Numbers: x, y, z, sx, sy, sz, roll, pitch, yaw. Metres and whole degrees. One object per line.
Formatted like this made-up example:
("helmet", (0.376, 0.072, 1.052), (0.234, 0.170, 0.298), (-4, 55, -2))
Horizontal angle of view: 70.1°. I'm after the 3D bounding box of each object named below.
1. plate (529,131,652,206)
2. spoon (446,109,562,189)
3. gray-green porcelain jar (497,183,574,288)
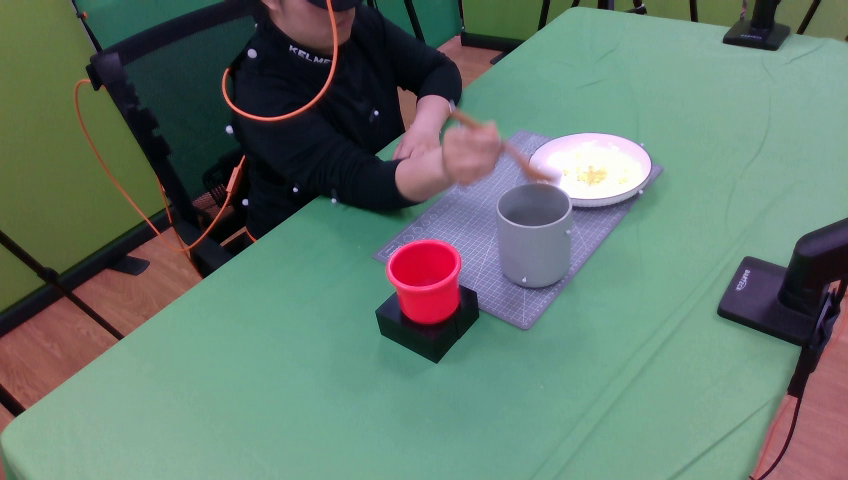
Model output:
("plate", (0.287, -0.121, 1.056), (0.207, 0.039, 0.206), (-5, 40, 5))
("spoon", (0.105, -0.116, 0.785), (0.041, 0.195, 0.021), (-12, 49, 60))
("gray-green porcelain jar", (0.160, -0.003, 0.869), (0.106, 0.127, 0.105), (-5, 40, 5))
